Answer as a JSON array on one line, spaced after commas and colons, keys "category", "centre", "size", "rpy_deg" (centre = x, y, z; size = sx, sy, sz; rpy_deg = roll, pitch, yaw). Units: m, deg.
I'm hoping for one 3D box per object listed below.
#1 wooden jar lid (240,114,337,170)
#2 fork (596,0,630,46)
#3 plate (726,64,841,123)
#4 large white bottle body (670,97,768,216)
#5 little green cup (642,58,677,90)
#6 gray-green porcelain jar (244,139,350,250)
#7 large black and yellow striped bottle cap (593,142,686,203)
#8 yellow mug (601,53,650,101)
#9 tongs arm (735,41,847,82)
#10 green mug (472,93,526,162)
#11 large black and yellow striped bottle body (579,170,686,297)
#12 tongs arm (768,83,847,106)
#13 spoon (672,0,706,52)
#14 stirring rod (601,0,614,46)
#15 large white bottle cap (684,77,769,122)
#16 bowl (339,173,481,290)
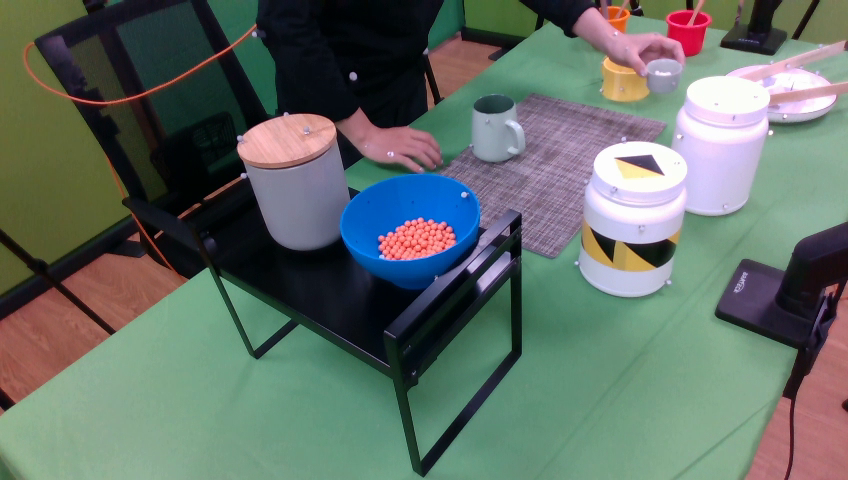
[{"category": "wooden jar lid", "centre": [-0.149, -0.106, 0.673], "size": [0.108, 0.021, 0.108], "rpy_deg": [-6, 39, 5]}, {"category": "fork", "centre": [0.481, -0.556, 1.452], "size": [0.028, 0.019, 0.207], "rpy_deg": [40, 103, 38]}, {"category": "plate", "centre": [0.695, -0.282, 1.189], "size": [0.207, 0.039, 0.206], "rpy_deg": [-4, 40, 4]}, {"category": "large white bottle body", "centre": [0.458, -0.146, 0.952], "size": [0.130, 0.185, 0.130], "rpy_deg": [-4, 40, 4]}, {"category": "little green cup", "centre": [0.424, -0.300, 1.096], "size": [0.061, 0.039, 0.061], "rpy_deg": [-5, 40, 5]}, {"category": "gray-green porcelain jar", "centre": [-0.143, -0.060, 0.714], "size": [0.106, 0.127, 0.105], "rpy_deg": [-4, 41, 4]}, {"category": "large black and yellow striped bottle cap", "centre": [0.280, -0.090, 0.786], "size": [0.115, 0.019, 0.114], "rpy_deg": [-5, 41, 5]}, {"category": "yellow mug", "centre": [0.423, -0.354, 1.292], "size": [0.100, 0.064, 0.129], "rpy_deg": [-23, 41, -16]}, {"category": "tongs arm", "centre": [0.712, -0.332, 1.194], "size": [0.386, 0.026, 0.050], "rpy_deg": [-18, 45, -16]}, {"category": "green mug", "centre": [0.144, -0.202, 1.122], "size": [0.093, 0.105, 0.124], "rpy_deg": [-29, 45, -23]}, {"category": "large black and yellow striped bottle body", "centre": [0.288, -0.027, 0.841], "size": [0.131, 0.185, 0.130], "rpy_deg": [-4, 40, 4]}, {"category": "tongs arm", "centre": [0.738, -0.282, 1.134], "size": [0.388, 0.028, 0.028], "rpy_deg": [-9, 47, -5]}, {"category": "spoon", "centre": [0.629, -0.520, 1.394], "size": [0.041, 0.022, 0.193], "rpy_deg": [29, 97, 34]}, {"category": "stirring rod", "centre": [0.439, -0.552, 1.463], "size": [0.014, 0.006, 0.175], "rpy_deg": [-7, 83, 2]}, {"category": "large white bottle cap", "centre": [0.448, -0.210, 0.898], "size": [0.115, 0.018, 0.114], "rpy_deg": [-4, 40, 4]}, {"category": "bowl", "centre": [-0.011, 0.001, 0.660], "size": [0.151, 0.077, 0.150], "rpy_deg": [-5, 40, 5]}]
